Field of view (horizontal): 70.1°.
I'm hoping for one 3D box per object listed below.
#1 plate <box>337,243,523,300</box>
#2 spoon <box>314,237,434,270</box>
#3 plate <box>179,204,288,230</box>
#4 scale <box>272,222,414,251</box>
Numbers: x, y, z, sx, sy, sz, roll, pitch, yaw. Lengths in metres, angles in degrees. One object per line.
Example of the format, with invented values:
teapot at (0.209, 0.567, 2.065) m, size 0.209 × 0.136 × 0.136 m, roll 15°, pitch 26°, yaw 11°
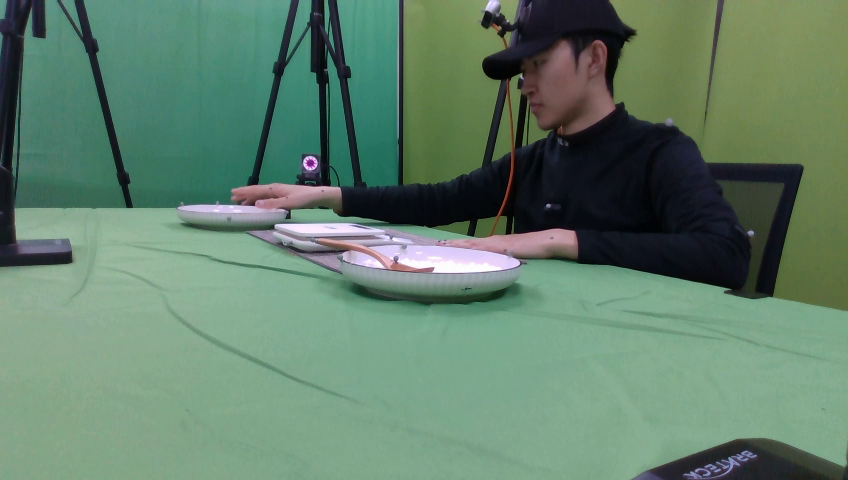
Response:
plate at (0.007, 0.035, 0.688) m, size 0.209 × 0.038 × 0.209 m, roll 2°, pitch 7°, yaw 0°
spoon at (-0.064, 0.015, 0.695) m, size 0.192 × 0.021 × 0.042 m, roll 18°, pitch 17°, yaw 42°
plate at (-0.382, -0.046, 1.222) m, size 0.208 × 0.039 × 0.207 m, roll 2°, pitch 8°, yaw 0°
scale at (-0.131, -0.008, 0.984) m, size 0.202 × 0.031 × 0.148 m, roll -2°, pitch 8°, yaw -32°
